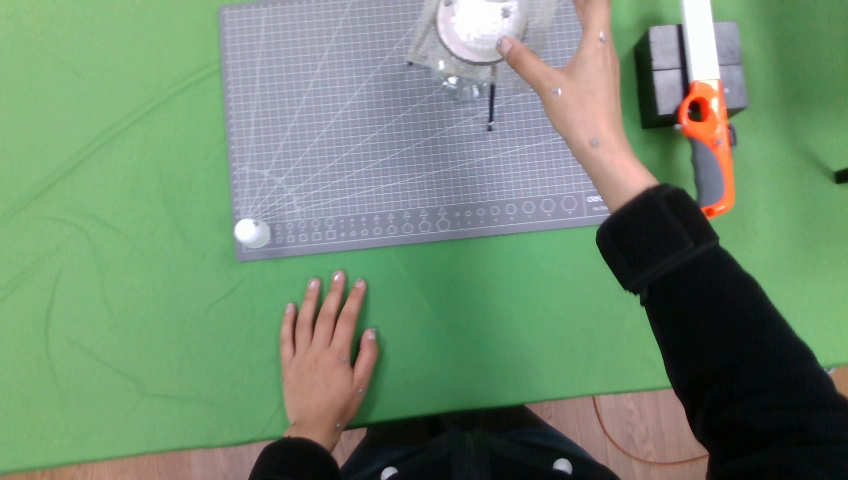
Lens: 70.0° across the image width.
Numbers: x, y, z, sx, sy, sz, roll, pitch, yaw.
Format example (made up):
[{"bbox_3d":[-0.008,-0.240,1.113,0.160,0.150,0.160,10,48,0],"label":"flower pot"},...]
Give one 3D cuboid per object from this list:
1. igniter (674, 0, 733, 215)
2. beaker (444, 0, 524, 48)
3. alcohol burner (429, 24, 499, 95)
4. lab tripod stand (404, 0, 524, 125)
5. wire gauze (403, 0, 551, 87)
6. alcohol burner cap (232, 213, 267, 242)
[{"bbox_3d":[0.296,-0.164,0.652,0.057,0.025,0.275,-4,84,1],"label":"igniter"},{"bbox_3d":[0.052,-0.219,0.527,0.084,0.100,0.074,-6,83,-1],"label":"beaker"},{"bbox_3d":[0.044,-0.200,0.649,0.078,0.119,0.078,0,86,0],"label":"alcohol burner"},{"bbox_3d":[0.051,-0.211,0.640,0.148,0.132,0.148,0,83,-1],"label":"lab tripod stand"},{"bbox_3d":[0.054,-0.215,0.575,0.121,0.011,0.124,17,81,-2],"label":"wire gauze"},{"bbox_3d":[-0.193,-0.015,0.662,0.034,0.048,0.034,0,85,-2],"label":"alcohol burner cap"}]
